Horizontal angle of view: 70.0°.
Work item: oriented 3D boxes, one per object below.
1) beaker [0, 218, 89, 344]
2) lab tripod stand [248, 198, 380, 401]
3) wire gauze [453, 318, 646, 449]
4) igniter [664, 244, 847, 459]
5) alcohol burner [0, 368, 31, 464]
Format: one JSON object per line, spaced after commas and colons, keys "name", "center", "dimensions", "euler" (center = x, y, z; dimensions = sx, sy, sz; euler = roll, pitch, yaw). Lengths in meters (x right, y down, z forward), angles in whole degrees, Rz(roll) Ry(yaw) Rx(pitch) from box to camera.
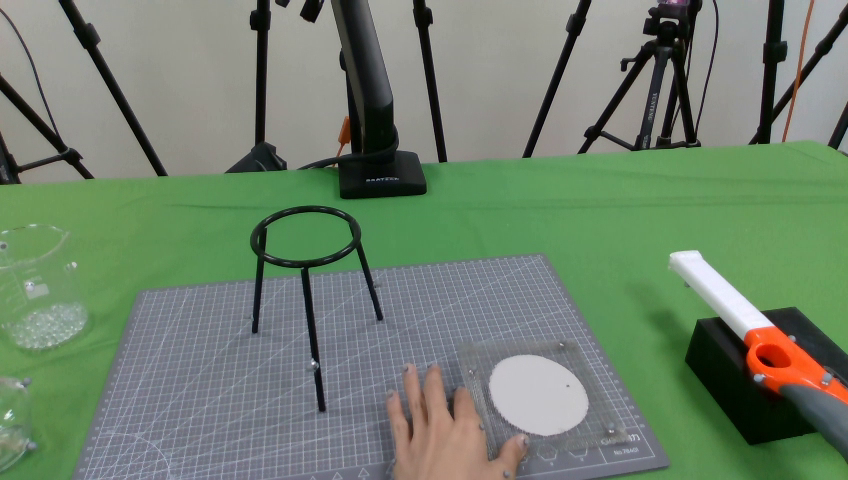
{"name": "beaker", "center": [-0.362, 0.039, 0.567], "dimensions": [0.073, 0.101, 0.084], "euler": [26, 40, 31]}
{"name": "lab tripod stand", "center": [-0.097, 0.044, 0.531], "dimensions": [0.148, 0.132, 0.147], "euler": [2, 34, -1]}
{"name": "wire gauze", "center": [0.105, 0.116, 0.511], "dimensions": [0.125, 0.011, 0.120], "euler": [-9, 34, -30]}
{"name": "igniter", "center": [0.280, 0.080, 0.502], "dimensions": [0.057, 0.025, 0.273], "euler": [-6, 31, -7]}
{"name": "alcohol burner", "center": [-0.338, 0.113, 0.443], "dimensions": [0.078, 0.120, 0.077], "euler": [2, 32, -1]}
